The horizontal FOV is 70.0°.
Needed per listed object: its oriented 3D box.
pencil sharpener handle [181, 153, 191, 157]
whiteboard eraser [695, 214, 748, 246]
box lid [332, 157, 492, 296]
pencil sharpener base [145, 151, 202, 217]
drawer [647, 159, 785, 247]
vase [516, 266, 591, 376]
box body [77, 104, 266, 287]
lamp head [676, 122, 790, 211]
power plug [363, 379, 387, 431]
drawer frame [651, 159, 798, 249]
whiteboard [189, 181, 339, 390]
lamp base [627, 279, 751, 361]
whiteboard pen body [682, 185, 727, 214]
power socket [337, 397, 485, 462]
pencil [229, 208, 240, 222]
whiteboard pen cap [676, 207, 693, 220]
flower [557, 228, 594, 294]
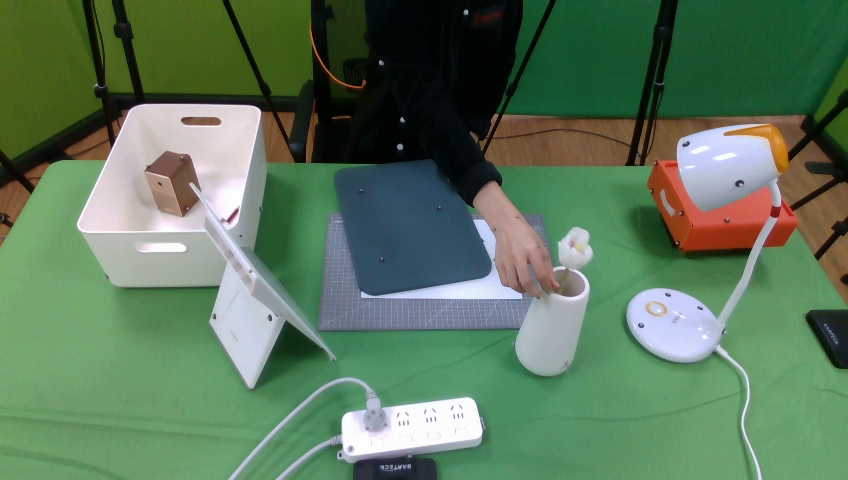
[{"bbox_3d":[-0.477,-0.155,1.225,0.036,0.068,0.030,23,48,3],"label":"pencil sharpener handle"},{"bbox_3d":[0.592,-0.019,1.209,0.113,0.042,0.055,12,27,-36],"label":"whiteboard eraser"},{"bbox_3d":[-0.034,-0.041,1.241,0.264,0.015,0.369,-9,47,-12],"label":"box lid"},{"bbox_3d":[-0.491,-0.112,1.199,0.061,0.107,0.076,15,47,12],"label":"pencil sharpener base"},{"bbox_3d":[0.582,-0.079,1.214,0.212,0.073,0.193,-1,46,-5],"label":"drawer"},{"bbox_3d":[0.208,0.132,0.964,0.098,0.201,0.097,3,46,-3],"label":"vase"},{"bbox_3d":[-0.446,-0.088,1.150,0.254,0.161,0.361,-1,46,-5],"label":"box body"},{"bbox_3d":[0.423,-0.104,0.819,0.122,0.113,0.112,-13,33,40],"label":"lamp head"},{"bbox_3d":[-0.072,0.252,0.910,0.035,0.053,0.072,3,44,-1],"label":"power plug"},{"bbox_3d":[0.588,-0.077,1.219,0.214,0.083,0.200,-2,45,-5],"label":"drawer frame"},{"bbox_3d":[-0.292,0.096,0.929,0.144,0.307,0.216,-37,57,-10],"label":"whiteboard"},{"bbox_3d":[0.459,0.100,1.027,0.178,0.181,0.160,27,51,17],"label":"lamp base"},{"bbox_3d":[0.572,-0.081,1.237,0.141,0.017,0.017,-27,54,-24],"label":"whiteboard pen body"},{"bbox_3d":[-0.018,0.285,0.915,0.227,0.033,0.071,-5,46,-8],"label":"power socket"},{"bbox_3d":[-0.401,-0.008,1.176,0.012,0.012,0.193,15,44,10],"label":"pencil"},{"bbox_3d":[0.524,-0.053,1.216,0.033,0.018,0.018,-28,54,-23],"label":"whiteboard pen cap"},{"bbox_3d":[0.196,0.085,0.894,0.038,0.363,0.044,-16,63,-6],"label":"flower"}]
